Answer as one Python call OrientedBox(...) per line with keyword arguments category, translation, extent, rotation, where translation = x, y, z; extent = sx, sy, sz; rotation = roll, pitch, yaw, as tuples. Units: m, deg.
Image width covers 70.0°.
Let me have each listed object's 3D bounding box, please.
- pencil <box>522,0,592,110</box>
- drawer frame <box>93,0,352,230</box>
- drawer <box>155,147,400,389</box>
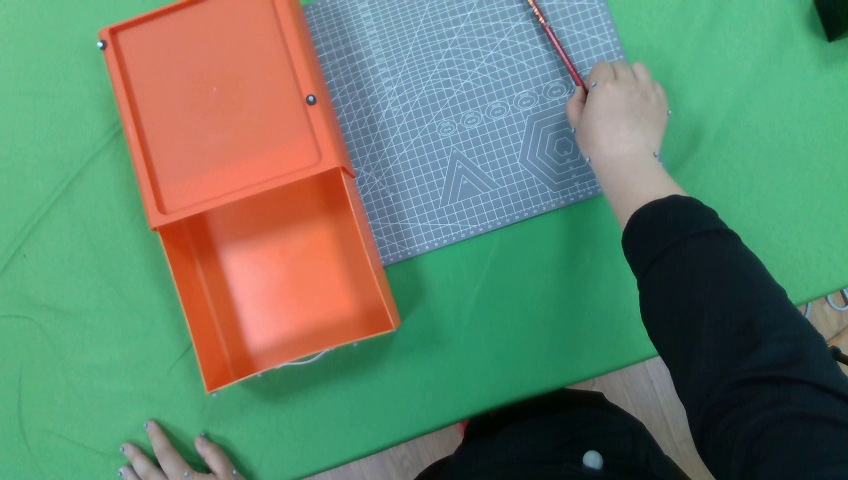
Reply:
OrientedBox(category="pencil", translation=(0.127, -0.219, 0.634), extent=(0.012, 0.012, 0.193), rotation=(-29, 83, 2))
OrientedBox(category="drawer frame", translation=(-0.204, -0.136, 0.623), extent=(0.201, 0.083, 0.213), rotation=(-19, 85, 4))
OrientedBox(category="drawer", translation=(-0.150, 0.019, 0.615), extent=(0.194, 0.073, 0.211), rotation=(-19, 88, 4))
